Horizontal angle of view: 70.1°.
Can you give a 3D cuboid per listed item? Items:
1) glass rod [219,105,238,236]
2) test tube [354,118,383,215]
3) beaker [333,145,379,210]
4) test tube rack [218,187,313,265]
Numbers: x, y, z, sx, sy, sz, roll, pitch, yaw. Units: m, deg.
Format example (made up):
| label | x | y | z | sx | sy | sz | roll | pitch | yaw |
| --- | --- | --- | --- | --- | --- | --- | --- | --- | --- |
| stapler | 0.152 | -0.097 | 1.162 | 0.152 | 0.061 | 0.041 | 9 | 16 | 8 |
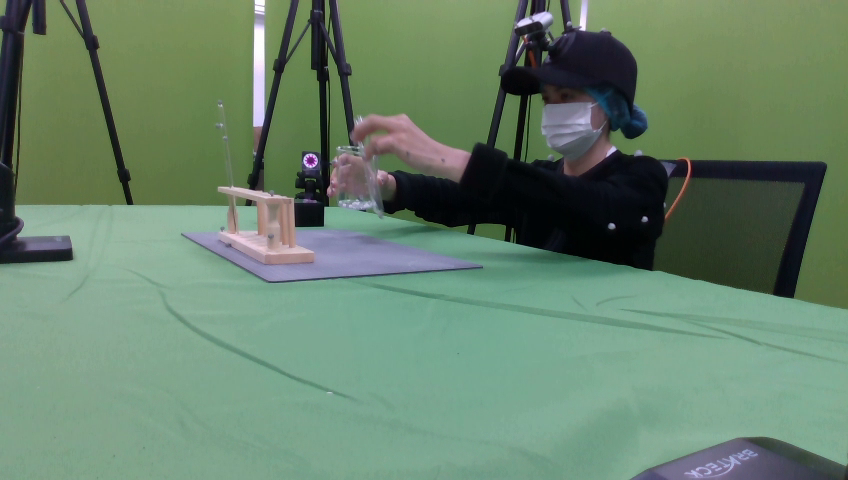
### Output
| label | x | y | z | sx | sy | sz | roll | pitch | yaw |
| --- | --- | --- | --- | --- | --- | --- | --- | --- | --- |
| glass rod | -0.294 | -0.100 | 0.908 | 0.008 | 0.199 | 0.008 | -3 | 12 | 1 |
| test tube | -0.081 | -0.108 | 0.883 | 0.017 | 0.150 | 0.017 | -12 | -12 | -2 |
| beaker | -0.114 | -0.105 | 1.024 | 0.074 | 0.100 | 0.083 | -6 | 18 | -30 |
| test tube rack | -0.235 | -0.027 | 0.872 | 0.067 | 0.085 | 0.241 | -2 | 8 | -32 |
